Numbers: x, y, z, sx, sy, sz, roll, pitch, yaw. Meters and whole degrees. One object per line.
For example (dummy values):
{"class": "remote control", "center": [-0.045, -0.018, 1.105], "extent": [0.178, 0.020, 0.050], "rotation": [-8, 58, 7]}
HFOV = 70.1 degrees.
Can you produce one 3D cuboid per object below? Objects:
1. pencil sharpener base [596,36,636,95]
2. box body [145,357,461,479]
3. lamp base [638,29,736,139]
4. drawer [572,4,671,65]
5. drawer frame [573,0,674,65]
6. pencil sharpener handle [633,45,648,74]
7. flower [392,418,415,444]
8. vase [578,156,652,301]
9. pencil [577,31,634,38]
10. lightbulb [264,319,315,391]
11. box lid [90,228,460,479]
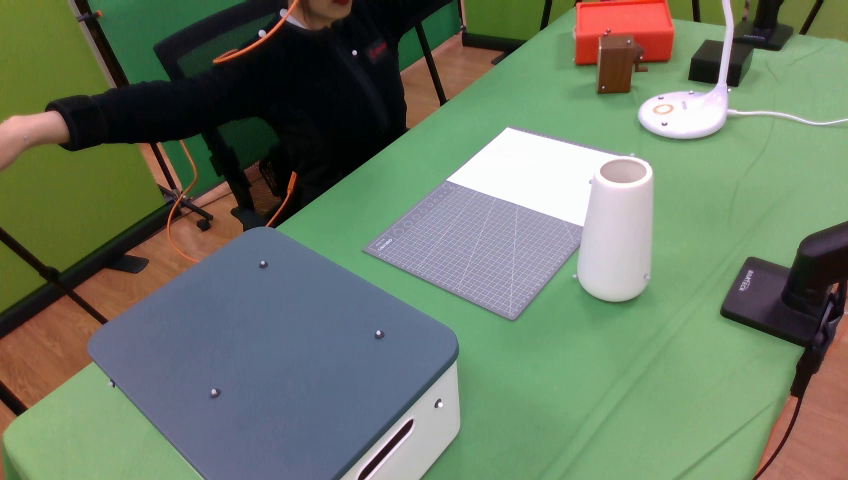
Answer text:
{"class": "pencil sharpener base", "center": [0.406, -0.369, 1.280], "extent": [0.076, 0.107, 0.061], "rotation": [1, 41, 13]}
{"class": "box body", "center": [-0.162, 0.170, 0.708], "extent": [0.361, 0.161, 0.255], "rotation": [25, 50, 34]}
{"class": "lamp base", "center": [0.501, -0.302, 1.125], "extent": [0.179, 0.181, 0.160], "rotation": [-4, 40, 3]}
{"class": "drawer", "center": [0.461, -0.490, 1.434], "extent": [0.211, 0.073, 0.194], "rotation": [2, 41, 12]}
{"class": "drawer frame", "center": [0.464, -0.492, 1.434], "extent": [0.213, 0.083, 0.201], "rotation": [1, 40, 12]}
{"class": "pencil sharpener handle", "center": [0.454, -0.378, 1.262], "extent": [0.030, 0.068, 0.036], "rotation": [1, 47, 13]}
{"class": "flower", "center": [-0.153, 0.228, 0.743], "extent": [0.360, 0.038, 0.044], "rotation": [-2, 44, 16]}
{"class": "vase", "center": [0.261, -0.011, 0.812], "extent": [0.098, 0.201, 0.097], "rotation": [-4, 40, 4]}
{"class": "pencil", "center": [0.431, -0.490, 1.443], "extent": [0.012, 0.012, 0.192], "rotation": [-25, 30, -18]}
{"class": "lightbulb", "center": [-0.175, 0.154, 0.805], "extent": [0.060, 0.060, 0.107], "rotation": [-24, 58, -16]}
{"class": "box lid", "center": [-0.173, 0.112, 0.662], "extent": [0.368, 0.015, 0.264], "rotation": [25, 50, 35]}
